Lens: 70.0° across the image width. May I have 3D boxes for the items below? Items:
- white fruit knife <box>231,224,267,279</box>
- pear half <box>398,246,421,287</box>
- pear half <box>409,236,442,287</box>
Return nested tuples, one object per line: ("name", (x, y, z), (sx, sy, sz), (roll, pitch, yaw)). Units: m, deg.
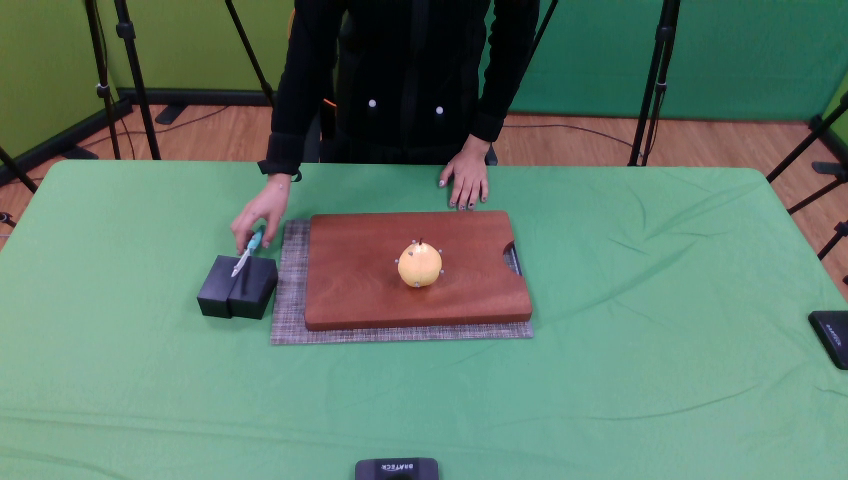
("white fruit knife", (-0.317, 0.018, 1.104), (0.016, 0.027, 0.206), (10, 25, -4))
("pear half", (-0.029, 0.046, 1.066), (0.031, 0.088, 0.070), (-18, 55, -20))
("pear half", (0.004, 0.029, 1.070), (0.056, 0.110, 0.076), (-18, 53, -20))
